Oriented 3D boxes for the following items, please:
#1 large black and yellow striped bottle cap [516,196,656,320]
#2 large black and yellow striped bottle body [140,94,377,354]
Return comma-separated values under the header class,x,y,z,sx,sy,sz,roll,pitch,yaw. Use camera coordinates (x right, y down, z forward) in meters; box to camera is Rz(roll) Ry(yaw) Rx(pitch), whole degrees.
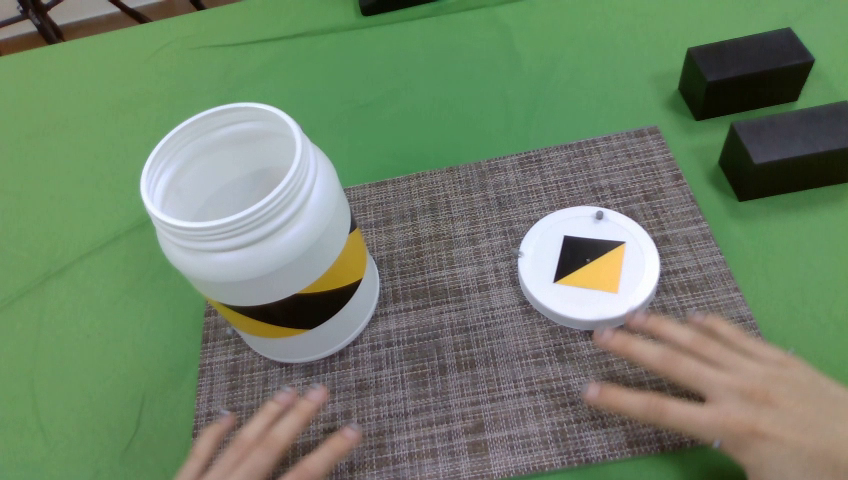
class,x,y,z,sx,sy,sz,roll,pitch,yaw
large black and yellow striped bottle cap,0.135,0.012,0.509,0.115,0.019,0.114,-4,57,7
large black and yellow striped bottle body,-0.117,-0.006,0.463,0.130,0.186,0.129,-5,56,7
